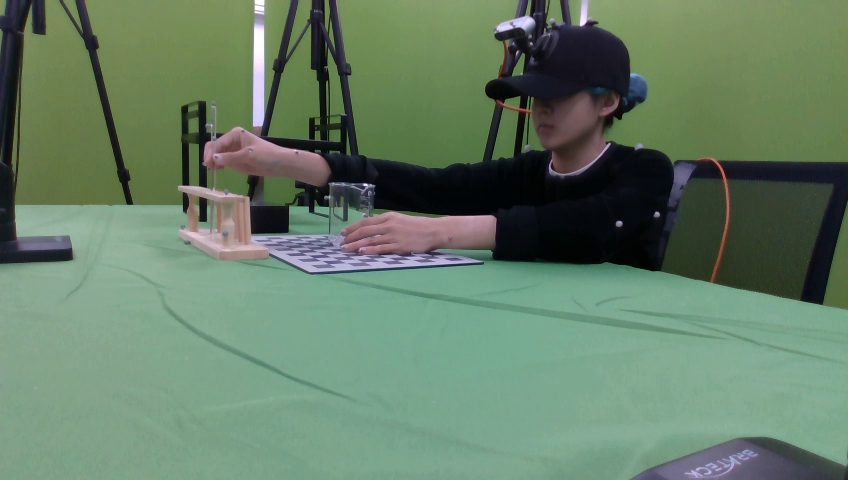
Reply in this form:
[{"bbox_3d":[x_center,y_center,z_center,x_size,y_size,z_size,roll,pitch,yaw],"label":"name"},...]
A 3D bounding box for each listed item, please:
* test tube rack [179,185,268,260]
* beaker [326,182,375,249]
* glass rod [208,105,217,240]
[{"bbox_3d":[-0.303,-0.031,0.898,0.067,0.085,0.241,-2,9,-33],"label":"test tube rack"},{"bbox_3d":[-0.114,-0.039,0.950,0.074,0.100,0.083,-2,9,-31],"label":"beaker"},{"bbox_3d":[-0.308,-0.096,0.878,0.008,0.199,0.008,2,-2,0],"label":"glass rod"}]
